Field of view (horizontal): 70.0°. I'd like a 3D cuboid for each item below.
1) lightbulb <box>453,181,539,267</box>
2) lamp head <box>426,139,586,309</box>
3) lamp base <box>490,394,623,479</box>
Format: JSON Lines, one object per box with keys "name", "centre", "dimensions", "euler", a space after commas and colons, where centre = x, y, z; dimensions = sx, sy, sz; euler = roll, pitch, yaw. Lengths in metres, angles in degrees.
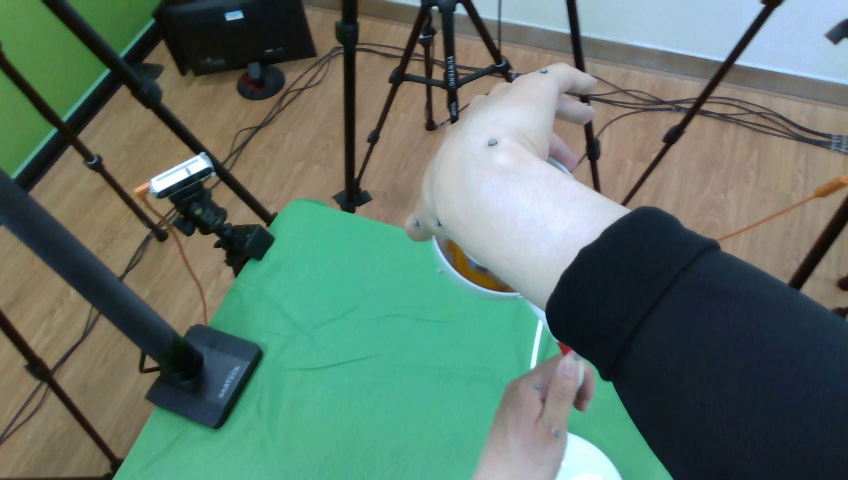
{"name": "lightbulb", "centre": [0.050, -0.006, 0.443], "dimensions": [0.059, 0.108, 0.059], "euler": [0, 79, 1]}
{"name": "lamp head", "centre": [0.057, 0.000, 0.466], "dimensions": [0.112, 0.123, 0.111], "euler": [0, 71, 1]}
{"name": "lamp base", "centre": [0.144, 0.248, 0.643], "dimensions": [0.161, 0.182, 0.177], "euler": [-18, 55, -7]}
